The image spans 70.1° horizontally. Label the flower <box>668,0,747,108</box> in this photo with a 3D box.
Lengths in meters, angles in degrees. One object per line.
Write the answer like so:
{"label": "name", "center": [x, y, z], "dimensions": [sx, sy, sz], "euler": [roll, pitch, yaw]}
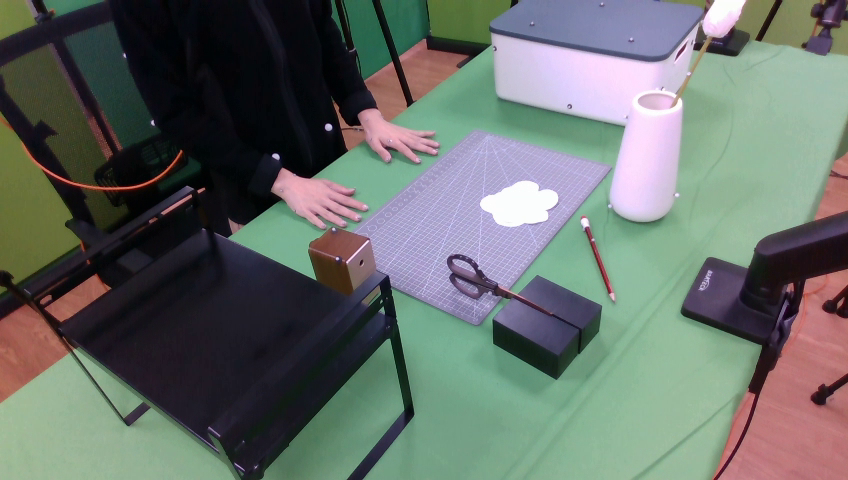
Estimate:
{"label": "flower", "center": [0.355, -0.187, 0.880], "dimensions": [0.038, 0.362, 0.044], "euler": [30, 48, 14]}

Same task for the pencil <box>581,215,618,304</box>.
{"label": "pencil", "center": [0.266, 0.026, 0.917], "dimensions": [0.012, 0.012, 0.193], "euler": [-6, 42, 1]}

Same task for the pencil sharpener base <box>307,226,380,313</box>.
{"label": "pencil sharpener base", "center": [-0.116, 0.043, 0.875], "dimensions": [0.076, 0.107, 0.061], "euler": [18, 47, 27]}

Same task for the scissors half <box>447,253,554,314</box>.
{"label": "scissors half", "center": [0.101, 0.060, 0.821], "dimensions": [0.174, 0.040, 0.013], "euler": [29, 51, 28]}

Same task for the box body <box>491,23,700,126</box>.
{"label": "box body", "center": [0.352, -0.384, 1.267], "dimensions": [0.361, 0.161, 0.255], "euler": [21, 48, 29]}

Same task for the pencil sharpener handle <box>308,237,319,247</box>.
{"label": "pencil sharpener handle", "center": [-0.158, 0.017, 0.892], "dimensions": [0.030, 0.068, 0.036], "euler": [18, 61, 28]}

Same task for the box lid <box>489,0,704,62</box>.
{"label": "box lid", "center": [0.345, -0.440, 1.218], "dimensions": [0.369, 0.015, 0.264], "euler": [21, 48, 29]}

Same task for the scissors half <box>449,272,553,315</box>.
{"label": "scissors half", "center": [0.104, 0.076, 0.834], "dimensions": [0.173, 0.040, 0.013], "euler": [15, 49, 42]}

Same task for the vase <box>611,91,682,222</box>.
{"label": "vase", "center": [0.348, -0.125, 0.935], "dimensions": [0.098, 0.201, 0.097], "euler": [-3, 40, 3]}
